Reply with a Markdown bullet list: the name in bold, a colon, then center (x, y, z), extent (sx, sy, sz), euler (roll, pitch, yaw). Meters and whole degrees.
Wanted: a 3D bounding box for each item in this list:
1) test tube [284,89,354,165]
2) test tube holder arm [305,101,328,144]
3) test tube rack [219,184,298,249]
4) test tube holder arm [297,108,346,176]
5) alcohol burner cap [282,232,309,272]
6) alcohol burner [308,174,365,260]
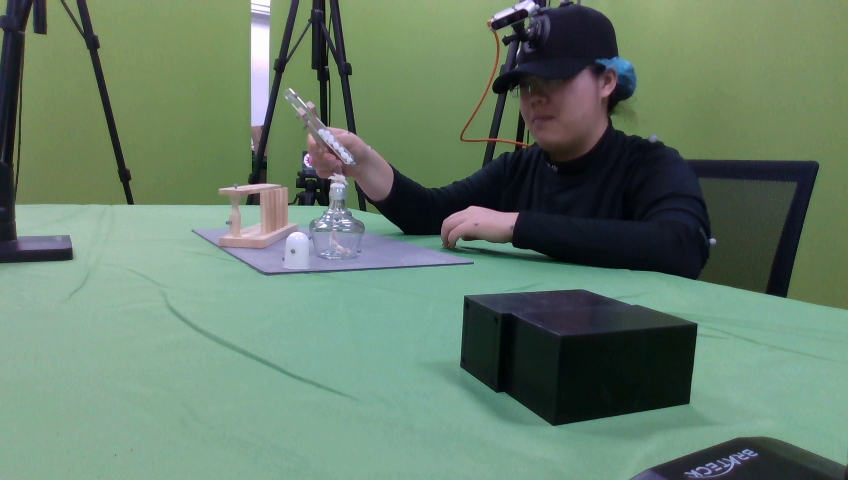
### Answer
- **test tube**: center (-0.147, -0.158, 0.843), extent (0.150, 0.017, 0.017), euler (48, 25, 16)
- **test tube holder arm**: center (-0.154, -0.165, 0.871), extent (0.015, 0.010, 0.088), euler (42, -18, 23)
- **test tube rack**: center (-0.266, -0.045, 1.001), extent (0.067, 0.085, 0.242), euler (3, 7, 0)
- **test tube holder arm**: center (-0.151, -0.143, 0.910), extent (0.015, 0.013, 0.179), euler (43, -9, 23)
- **alcohol burner cap**: center (-0.157, 0.014, 0.740), extent (0.034, 0.048, 0.034), euler (3, 6, 0)
- **alcohol burner**: center (-0.121, -0.033, 0.841), extent (0.078, 0.119, 0.078), euler (3, 5, 0)
